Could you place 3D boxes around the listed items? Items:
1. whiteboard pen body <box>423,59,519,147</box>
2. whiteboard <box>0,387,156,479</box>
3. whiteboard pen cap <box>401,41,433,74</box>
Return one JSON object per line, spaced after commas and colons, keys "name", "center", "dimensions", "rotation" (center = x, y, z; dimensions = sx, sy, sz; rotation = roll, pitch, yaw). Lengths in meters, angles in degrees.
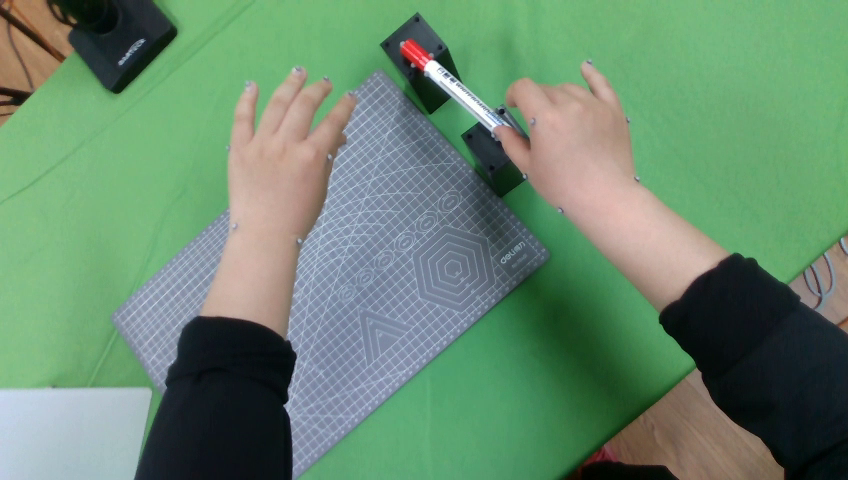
{"name": "whiteboard pen body", "center": [0.036, -0.138, 0.578], "dimensions": [0.140, 0.017, 0.017], "rotation": [44, 93, 12]}
{"name": "whiteboard", "center": [-0.475, 0.248, 0.625], "dimensions": [0.143, 0.308, 0.216], "rotation": [7, 83, 33]}
{"name": "whiteboard pen cap", "center": [-0.006, -0.179, 0.592], "dimensions": [0.017, 0.017, 0.032], "rotation": [-46, 77, 3]}
